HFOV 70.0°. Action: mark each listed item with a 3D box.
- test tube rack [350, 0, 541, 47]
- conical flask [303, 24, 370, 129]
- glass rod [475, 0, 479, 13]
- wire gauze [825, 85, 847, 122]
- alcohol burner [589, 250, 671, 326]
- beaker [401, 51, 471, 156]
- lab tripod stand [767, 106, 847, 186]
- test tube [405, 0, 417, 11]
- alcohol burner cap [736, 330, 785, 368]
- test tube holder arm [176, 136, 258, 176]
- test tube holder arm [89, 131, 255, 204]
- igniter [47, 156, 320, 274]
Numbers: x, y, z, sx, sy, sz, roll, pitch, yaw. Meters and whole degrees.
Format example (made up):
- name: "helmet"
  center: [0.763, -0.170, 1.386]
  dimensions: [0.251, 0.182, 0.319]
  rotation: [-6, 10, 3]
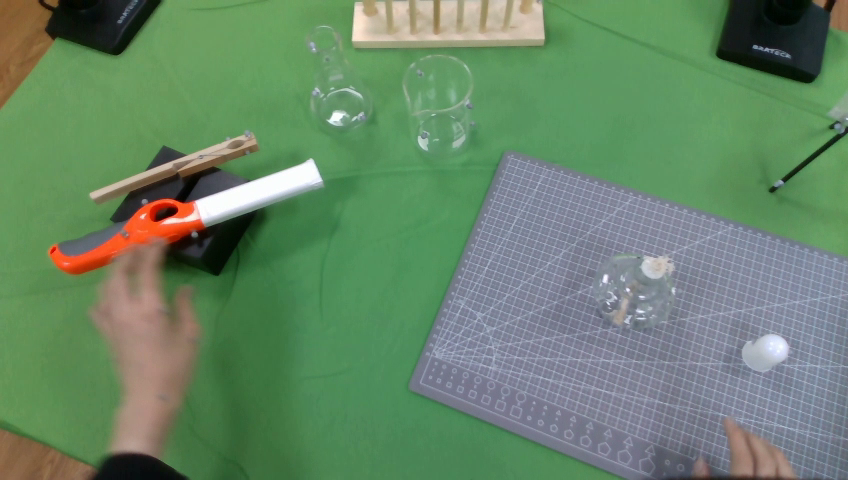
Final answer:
- name: "test tube rack"
  center: [0.026, -0.295, 0.749]
  dimensions: [0.242, 0.086, 0.066]
  rotation: [0, 67, 2]
- name: "conical flask"
  center: [-0.106, -0.188, 0.688]
  dimensions: [0.075, 0.123, 0.075]
  rotation: [-1, 66, 2]
- name: "glass rod"
  center: [0.059, -0.345, 0.696]
  dimensions: [0.008, 0.201, 0.008]
  rotation: [-3, 59, 5]
- name: "wire gauze"
  center: [0.459, -0.126, 0.561]
  dimensions: [0.121, 0.011, 0.125]
  rotation: [41, 75, 15]
- name: "alcohol burner"
  center: [0.202, 0.040, 0.580]
  dimensions: [0.078, 0.120, 0.077]
  rotation: [0, 66, 0]
- name: "beaker"
  center: [0.013, -0.146, 0.678]
  dimensions: [0.073, 0.101, 0.084]
  rotation: [34, 72, 16]
- name: "lab tripod stand"
  center: [0.455, -0.100, 0.623]
  dimensions: [0.148, 0.132, 0.147]
  rotation: [0, 66, 0]
- name: "test tube"
  center: [-0.015, -0.333, 0.712]
  dimensions: [0.017, 0.151, 0.017]
  rotation: [1, 61, -1]
- name: "alcohol burner cap"
  center: [0.329, 0.103, 0.588]
  dimensions: [0.034, 0.048, 0.033]
  rotation: [-1, 67, 2]
- name: "test tube holder arm"
  center: [-0.224, -0.090, 0.655]
  dimensions: [0.088, 0.015, 0.010]
  rotation: [-21, 68, -8]
- name: "test tube holder arm"
  center: [-0.268, -0.078, 0.650]
  dimensions: [0.178, 0.015, 0.013]
  rotation: [-22, 68, -8]
- name: "igniter"
  center: [-0.243, -0.026, 0.624]
  dimensions: [0.277, 0.025, 0.057]
  rotation: [-22, 69, -11]
